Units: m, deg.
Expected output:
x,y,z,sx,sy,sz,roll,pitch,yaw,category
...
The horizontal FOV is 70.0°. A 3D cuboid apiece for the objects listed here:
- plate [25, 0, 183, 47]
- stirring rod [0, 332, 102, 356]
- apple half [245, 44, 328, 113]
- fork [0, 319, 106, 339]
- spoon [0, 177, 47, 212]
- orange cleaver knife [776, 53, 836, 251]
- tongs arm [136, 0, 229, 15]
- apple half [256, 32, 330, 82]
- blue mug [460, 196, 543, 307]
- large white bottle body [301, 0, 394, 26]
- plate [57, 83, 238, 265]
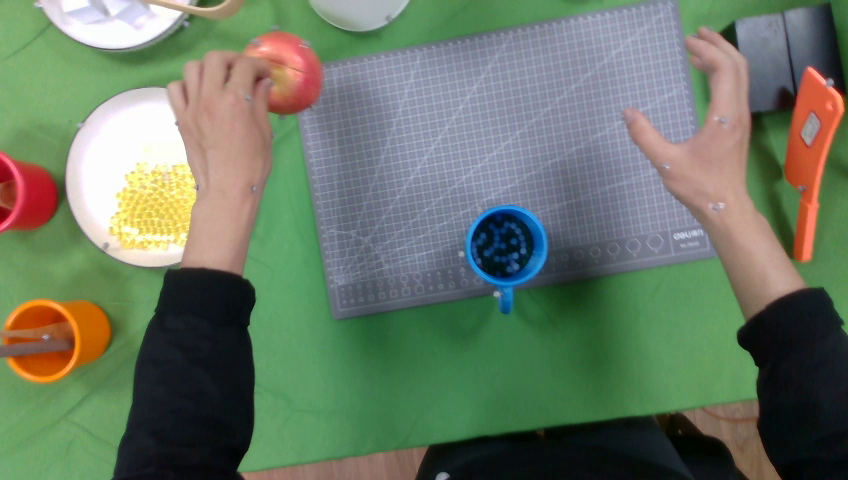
x,y,z,sx,sy,sz,roll,pitch,yaw,category
-0.363,-0.324,0.698,0.207,0.039,0.207,0,92,3,plate
-0.453,0.119,0.665,0.177,0.006,0.014,-3,79,-37,stirring rod
-0.142,-0.158,0.615,0.081,0.074,0.053,24,108,-6,apple half
-0.465,0.101,0.662,0.209,0.018,0.028,6,91,-40,fork
-0.528,-0.050,0.664,0.195,0.021,0.041,-4,90,-40,spoon
0.397,-0.087,0.643,0.012,0.076,0.213,-11,122,3,orange cleaver knife
-0.401,-0.309,0.668,0.384,0.026,0.050,18,89,4,tongs arm
-0.124,-0.188,0.605,0.081,0.081,0.033,28,107,2,apple half
0.080,0.014,0.651,0.082,0.106,0.116,-2,92,3,blue mug
-0.092,-0.310,0.612,0.130,0.184,0.130,0,91,4,large white bottle body
-0.316,-0.075,0.705,0.209,0.038,0.209,0,92,3,plate
